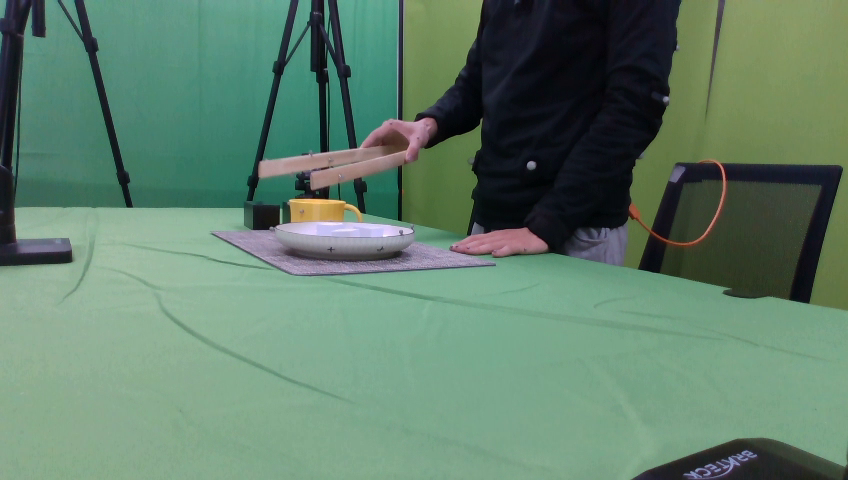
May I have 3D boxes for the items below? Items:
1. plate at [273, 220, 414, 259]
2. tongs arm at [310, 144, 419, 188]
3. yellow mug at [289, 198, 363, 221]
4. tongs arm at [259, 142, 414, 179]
[{"bbox_3d":[-0.118,-0.001,0.903,0.208,0.039,0.207,3,7,0],"label":"plate"},{"bbox_3d":[-0.087,-0.133,1.041,0.028,0.028,0.389,6,16,23],"label":"tongs arm"},{"bbox_3d":[-0.174,-0.039,1.072,0.131,0.064,0.100,3,7,0],"label":"yellow mug"},{"bbox_3d":[-0.134,-0.143,1.064,0.050,0.026,0.386,11,18,27],"label":"tongs arm"}]
